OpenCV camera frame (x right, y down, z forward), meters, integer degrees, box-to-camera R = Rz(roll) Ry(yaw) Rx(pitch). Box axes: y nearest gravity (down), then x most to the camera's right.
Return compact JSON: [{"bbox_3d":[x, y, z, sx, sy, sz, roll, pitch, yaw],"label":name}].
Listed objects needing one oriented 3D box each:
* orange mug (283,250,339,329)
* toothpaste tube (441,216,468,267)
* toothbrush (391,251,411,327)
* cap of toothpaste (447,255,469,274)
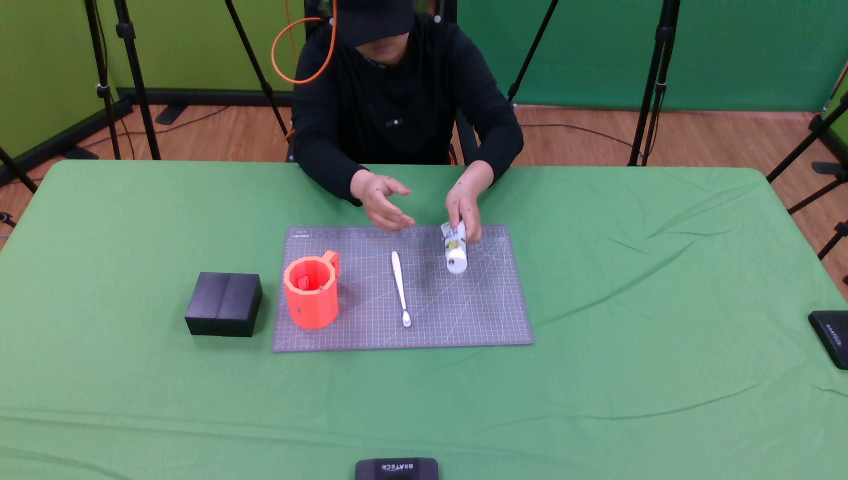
[{"bbox_3d":[-0.186,0.078,1.052,0.083,0.101,0.126,20,52,15],"label":"orange mug"},{"bbox_3d":[0.060,0.003,1.106,0.055,0.035,0.164,-20,28,10],"label":"toothpaste tube"},{"bbox_3d":[-0.044,0.085,1.112,0.014,0.017,0.180,-14,46,0],"label":"toothbrush"},{"bbox_3d":[0.058,0.041,1.039,0.037,0.037,0.011,4,30,1],"label":"cap of toothpaste"}]
